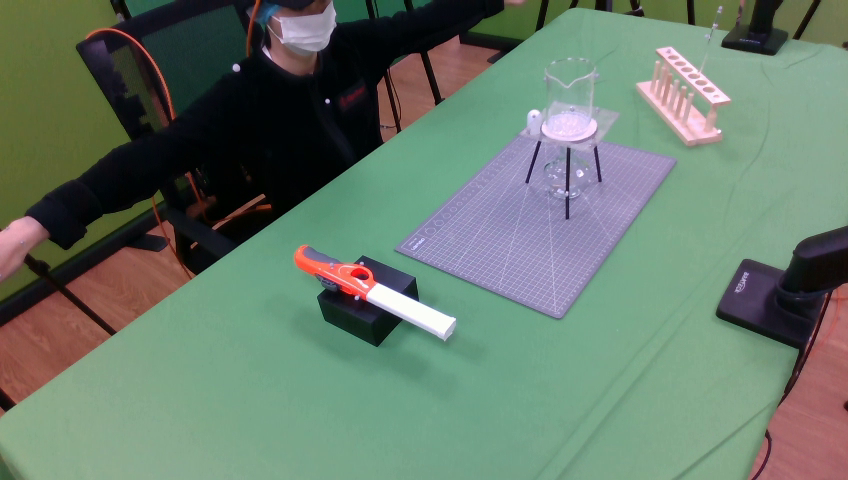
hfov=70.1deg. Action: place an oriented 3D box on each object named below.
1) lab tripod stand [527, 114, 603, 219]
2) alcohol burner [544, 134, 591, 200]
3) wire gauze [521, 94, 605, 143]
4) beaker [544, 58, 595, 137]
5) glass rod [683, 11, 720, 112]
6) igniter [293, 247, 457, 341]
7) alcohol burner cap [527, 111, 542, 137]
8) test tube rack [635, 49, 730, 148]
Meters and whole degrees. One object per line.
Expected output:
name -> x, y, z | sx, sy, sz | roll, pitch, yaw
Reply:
lab tripod stand -> 0.234, -0.129, 1.002 | 0.148, 0.132, 0.147 | -6, 40, 6
alcohol burner -> 0.241, -0.127, 1.014 | 0.078, 0.119, 0.077 | -5, 42, 5
wire gauze -> 0.219, -0.190, 0.949 | 0.121, 0.011, 0.125 | 7, 46, 14
beaker -> 0.222, -0.214, 0.926 | 0.074, 0.101, 0.084 | 3, 42, 16
glass rod -> 0.518, -0.329, 1.133 | 0.008, 0.200, 0.008 | 1, 42, -1
igniter -> -0.078, 0.068, 0.830 | 0.274, 0.025, 0.057 | 22, 48, 27
alcohol burner cap -> 0.221, -0.233, 1.200 | 0.034, 0.048, 0.033 | -6, 41, 6
test tube rack -> 0.497, -0.283, 1.185 | 0.067, 0.085, 0.240 | -10, 40, -2
